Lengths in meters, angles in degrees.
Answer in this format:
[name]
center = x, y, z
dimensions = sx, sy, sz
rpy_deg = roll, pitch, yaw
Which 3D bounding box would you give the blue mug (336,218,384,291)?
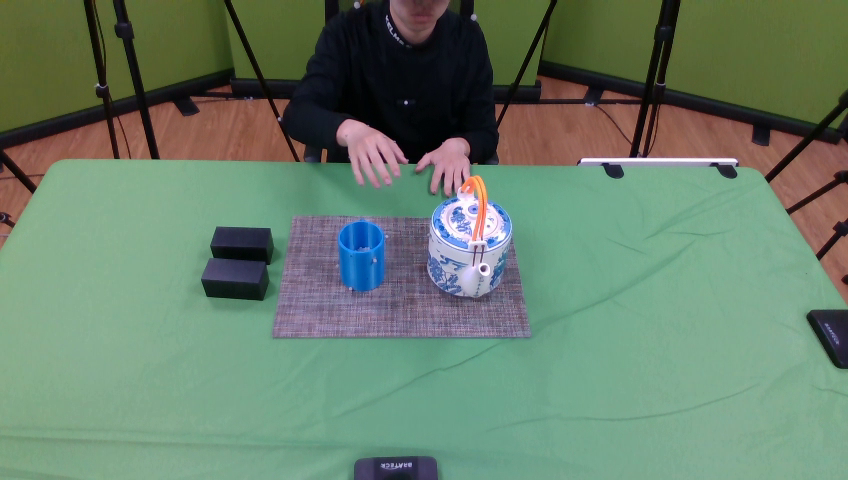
[blue mug]
center = -0.115, 0.018, 1.110
dimensions = 0.082, 0.106, 0.116
rpy_deg = 1, 46, -3

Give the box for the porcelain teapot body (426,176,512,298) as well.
[porcelain teapot body]
center = 0.085, 0.009, 1.051
dimensions = 0.145, 0.226, 0.204
rpy_deg = -5, 47, -9

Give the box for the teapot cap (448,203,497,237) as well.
[teapot cap]
center = 0.084, -0.038, 1.041
dimensions = 0.085, 0.044, 0.084
rpy_deg = 0, 48, 0
